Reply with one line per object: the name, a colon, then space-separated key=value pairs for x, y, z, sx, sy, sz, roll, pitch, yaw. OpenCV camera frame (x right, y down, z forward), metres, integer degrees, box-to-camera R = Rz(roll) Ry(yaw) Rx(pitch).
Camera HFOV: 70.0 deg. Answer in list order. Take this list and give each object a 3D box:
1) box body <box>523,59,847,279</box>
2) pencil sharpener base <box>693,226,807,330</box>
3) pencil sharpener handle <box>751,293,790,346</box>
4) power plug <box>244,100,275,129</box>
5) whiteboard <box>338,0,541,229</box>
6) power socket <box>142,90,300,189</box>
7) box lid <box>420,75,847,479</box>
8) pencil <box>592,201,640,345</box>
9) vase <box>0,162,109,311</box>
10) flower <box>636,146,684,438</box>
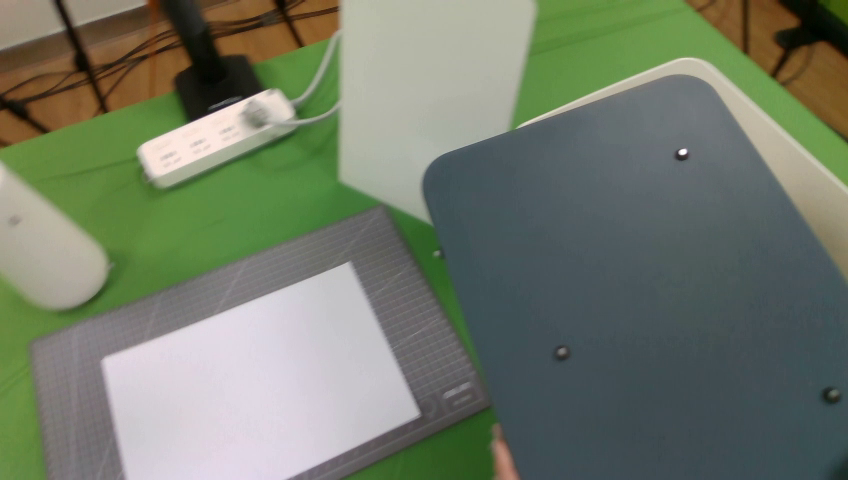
box body: x=0.283 y=0.009 z=0.647 sx=0.254 sy=0.162 sz=0.360 roll=-24 pitch=60 yaw=-12
pencil sharpener base: x=0.344 y=0.046 z=0.647 sx=0.061 sy=0.108 sz=0.076 roll=-4 pitch=57 yaw=-1
pencil sharpener handle: x=0.351 y=0.081 z=0.609 sx=0.036 sy=0.068 sz=0.030 roll=-13 pitch=57 yaw=12
power plug: x=-0.222 y=-0.158 z=0.823 sx=0.035 sy=0.053 sz=0.072 roll=-19 pitch=60 yaw=-9
whiteboard: x=0.030 y=-0.181 z=0.730 sx=0.216 sy=0.308 sz=0.143 roll=26 pitch=43 yaw=18
power socket: x=-0.280 y=-0.142 z=0.843 sx=0.227 sy=0.033 sz=0.071 roll=-28 pitch=61 yaw=-15
box lid: x=0.164 y=0.043 z=0.444 sx=0.263 sy=0.015 sz=0.368 roll=-19 pitch=62 yaw=0
pencil: x=0.227 y=0.034 z=0.718 sx=0.012 sy=0.012 sz=0.192 roll=-7 pitch=60 yaw=-1
vase: x=-0.434 y=-0.001 z=0.662 sx=0.098 sy=0.202 sz=0.097 roll=-2 pitch=58 yaw=3
flower: x=0.279 y=0.043 z=0.698 sx=0.044 sy=0.038 sz=0.358 roll=-14 pitch=56 yaw=32
